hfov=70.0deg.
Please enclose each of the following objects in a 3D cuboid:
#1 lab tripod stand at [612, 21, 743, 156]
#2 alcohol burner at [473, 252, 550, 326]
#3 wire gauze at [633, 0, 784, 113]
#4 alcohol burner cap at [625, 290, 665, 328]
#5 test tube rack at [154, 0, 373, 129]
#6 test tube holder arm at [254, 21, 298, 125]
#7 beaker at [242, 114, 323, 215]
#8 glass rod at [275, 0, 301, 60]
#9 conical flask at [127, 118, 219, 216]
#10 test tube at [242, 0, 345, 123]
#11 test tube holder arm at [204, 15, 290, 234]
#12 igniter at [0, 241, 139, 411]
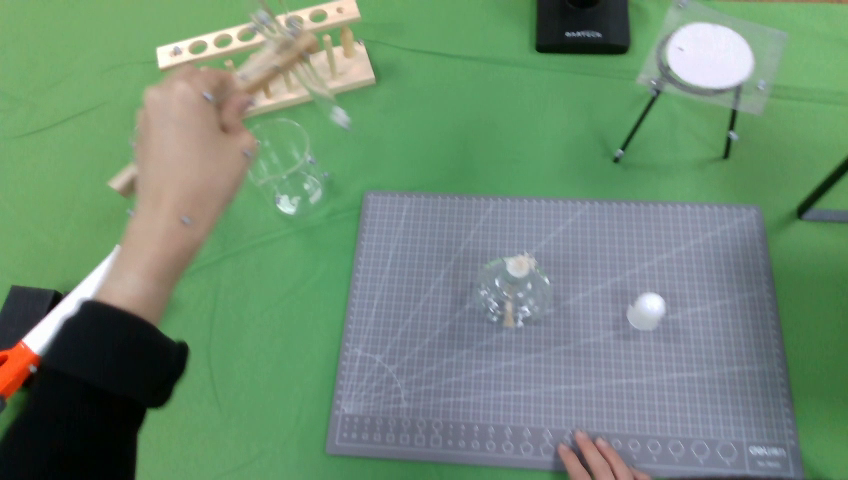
[{"bbox_3d":[0.285,-0.160,0.669,0.148,0.132,0.147,-1,64,2],"label":"lab tripod stand"},{"bbox_3d":[0.087,0.042,0.595,0.078,0.120,0.077,0,64,1],"label":"alcohol burner"},{"bbox_3d":[0.288,-0.190,0.608,0.121,0.011,0.124,23,69,12],"label":"wire gauze"},{"bbox_3d":[0.226,0.068,0.614,0.034,0.048,0.033,-1,65,3],"label":"alcohol burner cap"},{"bbox_3d":[-0.193,-0.220,0.752,0.242,0.086,0.066,-16,65,-4],"label":"test tube rack"},{"bbox_3d":[-0.114,-0.127,0.458,0.015,0.010,0.087,-4,64,40],"label":"test tube holder arm"},{"bbox_3d":[-0.156,-0.077,0.676,0.074,0.101,0.083,17,67,12],"label":"beaker"},{"bbox_3d":[-0.171,-0.279,0.704,0.008,0.201,0.008,-5,58,8],"label":"glass rod"},{"bbox_3d":[-0.282,-0.084,0.674,0.075,0.123,0.074,-1,64,3],"label":"conical flask"},{"bbox_3d":[-0.096,-0.134,0.473,0.017,0.151,0.017,-5,69,14],"label":"test tube"},{"bbox_3d":[-0.127,-0.088,0.439,0.015,0.013,0.177,-4,65,40],"label":"test tube holder arm"},{"bbox_3d":[-0.391,0.111,0.589,0.057,0.025,0.276,30,69,26],"label":"igniter"}]
